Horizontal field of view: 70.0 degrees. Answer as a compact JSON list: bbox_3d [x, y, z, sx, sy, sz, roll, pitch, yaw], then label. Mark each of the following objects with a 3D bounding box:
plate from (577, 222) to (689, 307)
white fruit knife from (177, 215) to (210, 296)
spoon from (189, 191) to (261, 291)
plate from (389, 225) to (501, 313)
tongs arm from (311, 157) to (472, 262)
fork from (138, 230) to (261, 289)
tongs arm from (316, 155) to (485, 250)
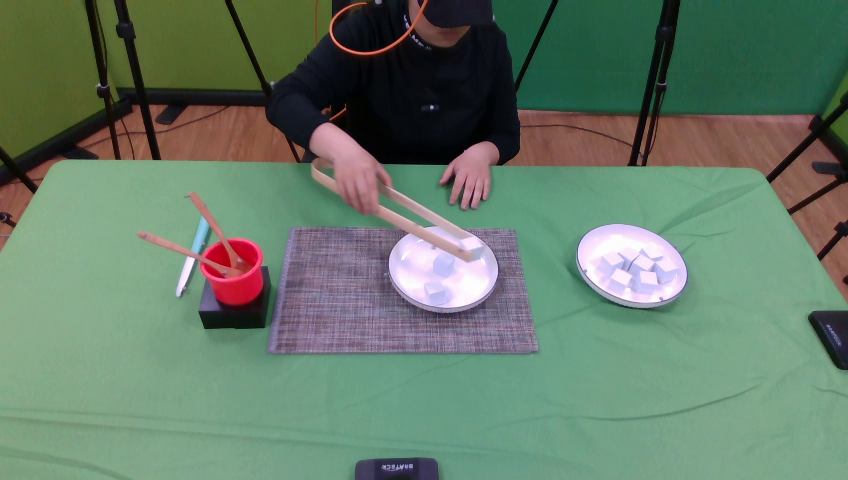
[{"bbox_3d":[0.396,0.050,1.165,0.209,0.038,0.208,2,47,-2],"label":"plate"},{"bbox_3d":[-0.435,0.025,1.148,0.027,0.016,0.206,-18,45,18],"label":"white fruit knife"},{"bbox_3d":[-0.333,0.001,1.012,0.041,0.194,0.021,-34,15,-25],"label":"spoon"},{"bbox_3d":[0.038,0.057,1.128,0.208,0.039,0.206,2,46,-2],"label":"plate"},{"bbox_3d":[-0.068,-0.063,1.124,0.383,0.026,0.050,27,45,20],"label":"tongs arm"},{"bbox_3d":[-0.360,0.032,0.981,0.208,0.018,0.028,31,60,-30],"label":"fork"},{"bbox_3d":[-0.051,-0.076,1.143,0.386,0.028,0.028,29,49,22],"label":"tongs arm"}]
